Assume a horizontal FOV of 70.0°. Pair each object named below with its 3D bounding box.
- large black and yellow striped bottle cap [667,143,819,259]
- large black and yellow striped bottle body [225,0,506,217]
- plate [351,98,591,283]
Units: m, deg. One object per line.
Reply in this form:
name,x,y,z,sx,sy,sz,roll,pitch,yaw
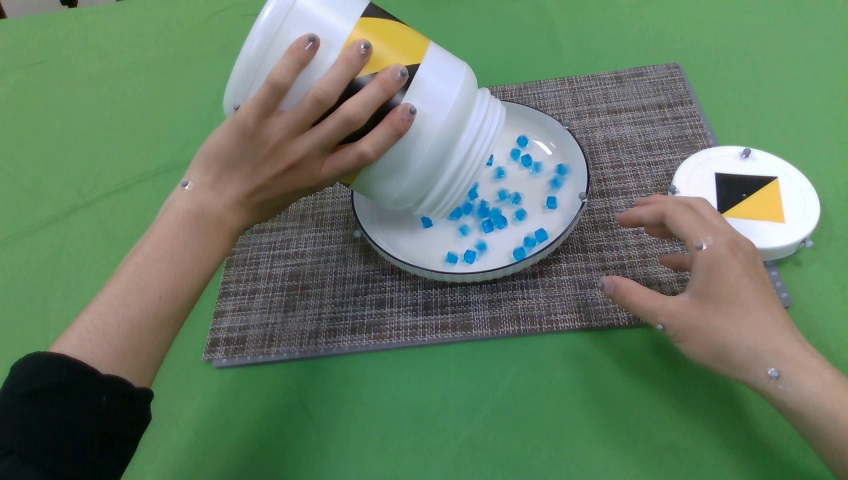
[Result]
large black and yellow striped bottle cap,0.264,-0.035,0.503,0.115,0.019,0.114,-2,54,3
large black and yellow striped bottle body,-0.041,-0.107,0.469,0.185,0.131,0.130,29,56,-14
plate,0.041,-0.045,0.536,0.207,0.039,0.205,-5,52,6
